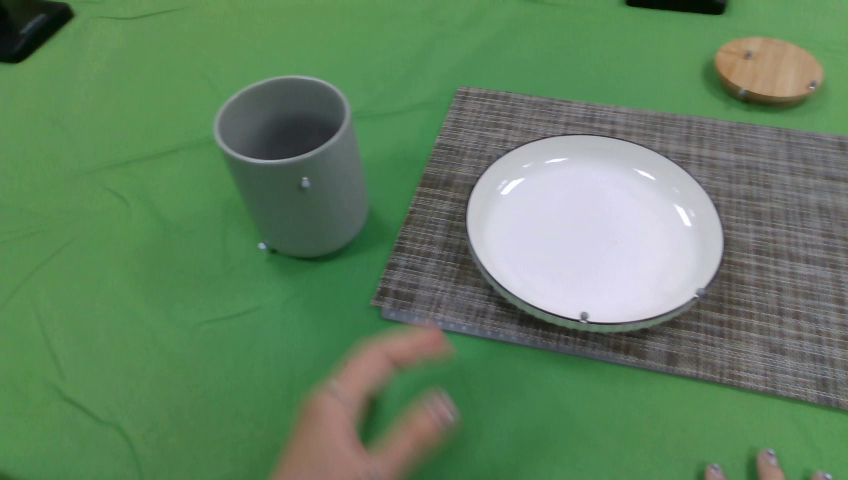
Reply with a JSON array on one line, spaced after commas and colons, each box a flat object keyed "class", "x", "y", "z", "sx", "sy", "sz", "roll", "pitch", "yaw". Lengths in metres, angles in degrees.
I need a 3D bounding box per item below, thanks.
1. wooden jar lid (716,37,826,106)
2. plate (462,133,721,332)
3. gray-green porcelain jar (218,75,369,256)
[{"class": "wooden jar lid", "x": 0.370, "y": -0.181, "z": 0.652, "sx": 0.108, "sy": 0.021, "sz": 0.107, "roll": -2, "pitch": 52, "yaw": 2}, {"class": "plate", "x": 0.136, "y": -0.008, "z": 0.513, "sx": 0.207, "sy": 0.039, "sz": 0.205, "roll": -2, "pitch": 51, "yaw": 2}, {"class": "gray-green porcelain jar", "x": -0.104, "y": -0.056, "z": 0.515, "sx": 0.106, "sy": 0.127, "sz": 0.105, "roll": -2, "pitch": 51, "yaw": 2}]
